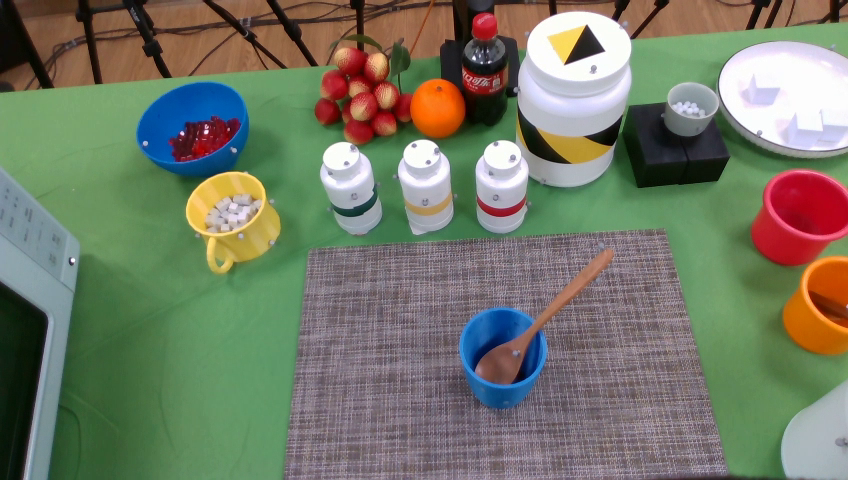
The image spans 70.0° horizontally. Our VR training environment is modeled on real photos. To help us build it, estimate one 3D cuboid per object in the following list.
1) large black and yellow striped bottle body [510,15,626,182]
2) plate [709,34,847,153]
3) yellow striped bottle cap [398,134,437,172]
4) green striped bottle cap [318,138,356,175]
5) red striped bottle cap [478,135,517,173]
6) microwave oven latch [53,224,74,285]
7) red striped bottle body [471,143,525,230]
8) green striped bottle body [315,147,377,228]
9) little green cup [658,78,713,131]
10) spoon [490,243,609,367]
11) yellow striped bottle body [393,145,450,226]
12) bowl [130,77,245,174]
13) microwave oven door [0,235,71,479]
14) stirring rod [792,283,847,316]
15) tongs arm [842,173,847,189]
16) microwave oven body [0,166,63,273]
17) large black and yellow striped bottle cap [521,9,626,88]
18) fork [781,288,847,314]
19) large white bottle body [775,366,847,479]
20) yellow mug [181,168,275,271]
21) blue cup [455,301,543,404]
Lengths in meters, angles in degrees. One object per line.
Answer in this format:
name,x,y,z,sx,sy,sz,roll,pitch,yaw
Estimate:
large black and yellow striped bottle body,0.176,-0.175,0.754,0.131,0.185,0.129,-2,58,4
plate,0.494,-0.196,0.823,0.209,0.038,0.207,-2,59,4
yellow striped bottle cap,-0.008,-0.101,0.703,0.044,0.019,0.044,-2,60,3
green striped bottle cap,-0.102,-0.099,0.710,0.044,0.020,0.044,-2,57,4
red striped bottle cap,0.084,-0.099,0.692,0.044,0.018,0.044,0,57,1
microwave oven latch,-0.461,0.020,0.761,0.030,0.030,0.078,-11,59,-2
red striped bottle body,0.090,-0.070,0.736,0.063,0.121,0.062,-5,56,8
green striped bottle body,-0.097,-0.071,0.755,0.063,0.120,0.062,-2,58,4
little green cup,0.326,-0.169,0.762,0.061,0.039,0.061,-2,57,3
spoon,0.111,0.075,0.586,0.194,0.022,0.041,-53,54,25
yellow striped bottle body,-0.003,-0.074,0.747,0.063,0.121,0.062,-3,58,5
bowl,-0.315,-0.146,0.845,0.151,0.077,0.150,-2,59,4
microwave oven door,-0.432,0.147,0.560,0.039,0.246,0.352,-12,58,-1
stirring rod,0.429,0.074,0.604,0.014,0.006,0.175,-9,15,-1
tongs arm,0.583,0.074,0.650,0.051,0.027,0.381,-10,59,-6
microwave oven body,-0.583,0.145,0.582,0.326,0.262,0.437,-11,59,-2
large black and yellow striped bottle cap,0.167,-0.218,0.682,0.115,0.019,0.114,-3,57,5
fork,0.457,0.072,0.597,0.028,0.019,0.206,-34,17,-20
large white bottle body,0.405,0.169,0.521,0.130,0.186,0.129,-3,58,5
yellow mug,-0.252,-0.022,0.770,0.100,0.064,0.130,5,60,8
blue cup,0.075,0.124,0.624,0.092,0.101,0.092,-1,56,2
